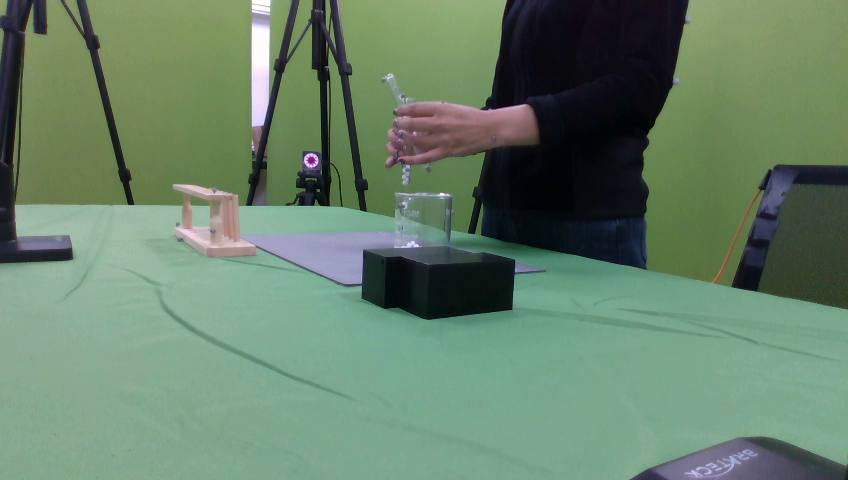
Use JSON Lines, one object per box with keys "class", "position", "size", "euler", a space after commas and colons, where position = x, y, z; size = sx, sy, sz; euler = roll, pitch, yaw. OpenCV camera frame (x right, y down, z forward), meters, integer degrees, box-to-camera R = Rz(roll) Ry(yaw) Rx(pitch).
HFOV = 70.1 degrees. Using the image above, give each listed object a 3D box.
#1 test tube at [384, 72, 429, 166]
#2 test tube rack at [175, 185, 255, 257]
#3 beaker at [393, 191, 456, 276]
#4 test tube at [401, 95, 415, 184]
{"class": "test tube", "position": [-0.025, -0.181, 0.907], "size": [0.017, 0.150, 0.017], "euler": [-22, 0, 0]}
{"class": "test tube rack", "position": [-0.324, -0.035, 0.922], "size": [0.067, 0.085, 0.241], "euler": [-2, 9, -32]}
{"class": "beaker", "position": [-0.003, -0.010, 0.749], "size": [0.074, 0.100, 0.083], "euler": [-3, 8, -40]}
{"class": "test tube", "position": [-0.028, -0.167, 1.016], "size": [0.017, 0.150, 0.017], "euler": [4, 20, -1]}
